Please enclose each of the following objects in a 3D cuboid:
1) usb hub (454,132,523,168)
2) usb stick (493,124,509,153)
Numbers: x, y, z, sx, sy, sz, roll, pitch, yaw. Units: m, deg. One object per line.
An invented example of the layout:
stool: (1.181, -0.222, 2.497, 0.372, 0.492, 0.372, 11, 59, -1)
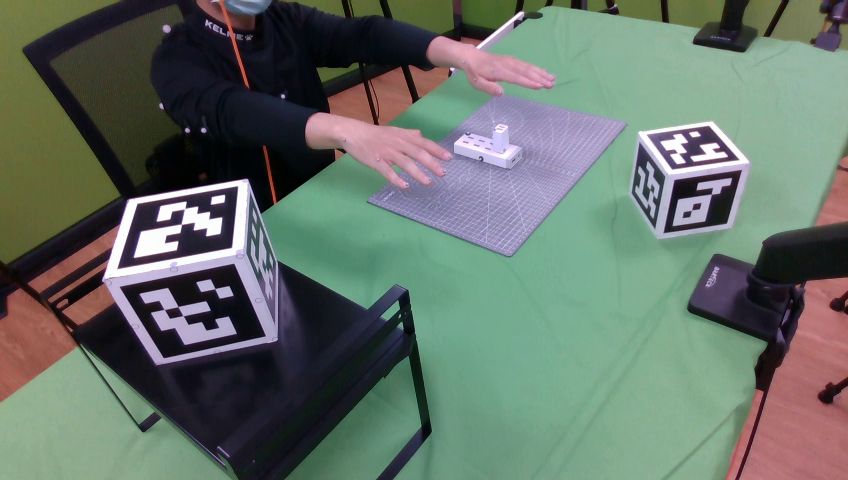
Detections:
usb hub: (0.121, -0.170, 1.144, 0.124, 0.025, 0.049, 22, 48, 29)
usb stick: (0.142, -0.180, 1.107, 0.021, 0.059, 0.027, 19, 46, 29)
